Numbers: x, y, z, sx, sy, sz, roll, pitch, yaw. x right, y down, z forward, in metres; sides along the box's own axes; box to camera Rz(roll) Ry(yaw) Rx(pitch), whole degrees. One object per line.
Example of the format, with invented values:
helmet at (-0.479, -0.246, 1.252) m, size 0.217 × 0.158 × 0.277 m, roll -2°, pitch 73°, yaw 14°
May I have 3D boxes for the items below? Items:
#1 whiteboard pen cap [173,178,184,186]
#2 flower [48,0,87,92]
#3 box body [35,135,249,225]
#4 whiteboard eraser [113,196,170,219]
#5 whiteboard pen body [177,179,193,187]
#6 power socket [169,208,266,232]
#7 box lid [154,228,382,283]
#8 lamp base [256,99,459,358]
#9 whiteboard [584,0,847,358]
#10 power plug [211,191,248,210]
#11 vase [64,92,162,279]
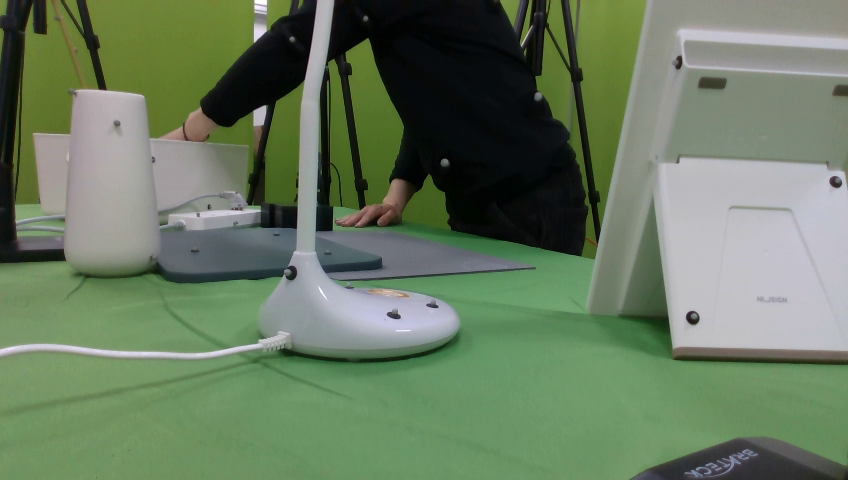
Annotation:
whiteboard pen cap at (-0.511, -0.120, 1.257) m, size 0.018 × 0.018 × 0.033 m, roll 1°, pitch 5°, yaw -11°
flower at (-0.361, -0.141, 0.659) m, size 0.038 × 0.361 × 0.044 m, roll -13°, pitch 11°, yaw 11°
box body at (-0.561, -0.127, 1.258) m, size 0.254 × 0.160 × 0.365 m, roll 4°, pitch 8°, yaw 13°
whiteboard eraser at (-0.546, -0.064, 1.174) m, size 0.055 × 0.042 × 0.113 m, roll 4°, pitch 5°, yaw 4°
whiteboard pen body at (-0.521, -0.124, 1.315) m, size 0.017 × 0.017 × 0.140 m, roll 0°, pitch 5°, yaw -13°
power socket at (-0.379, -0.038, 1.129) m, size 0.072 × 0.032 × 0.227 m, roll 4°, pitch 8°, yaw 18°
box lid at (-0.250, 0.014, 0.853) m, size 0.265 × 0.015 × 0.369 m, roll -3°, pitch 9°, yaw -32°
lamp base at (-0.055, -0.013, 0.463) m, size 0.160 × 0.180 × 0.180 m, roll 6°, pitch 11°, yaw 27°
whiteboard at (0.269, -0.034, 0.466) m, size 0.217 × 0.305 × 0.143 m, roll 2°, pitch 27°, yaw -1°
power plug at (-0.384, -0.071, 1.206) m, size 0.072 × 0.052 × 0.035 m, roll 1°, pitch 8°, yaw 28°
vase at (-0.348, -0.060, 0.673) m, size 0.098 × 0.200 × 0.098 m, roll 1°, pitch 7°, yaw 0°
